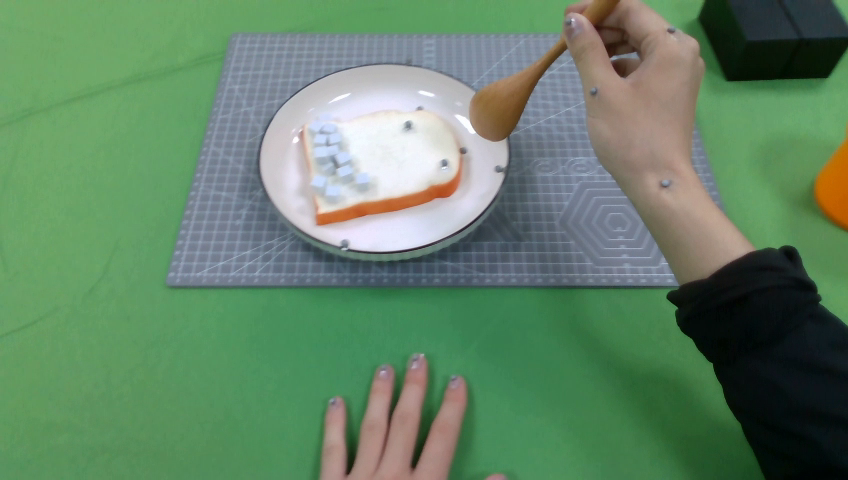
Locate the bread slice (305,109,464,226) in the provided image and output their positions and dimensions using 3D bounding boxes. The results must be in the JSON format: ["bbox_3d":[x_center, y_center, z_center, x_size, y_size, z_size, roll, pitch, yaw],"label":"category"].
[{"bbox_3d":[-0.033,-0.070,0.516,0.132,0.019,0.104,-13,59,-7],"label":"bread slice"}]

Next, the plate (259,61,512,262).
[{"bbox_3d":[-0.031,-0.067,0.511,0.209,0.038,0.207,0,58,0],"label":"plate"}]

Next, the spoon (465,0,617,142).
[{"bbox_3d":[0.087,-0.129,0.403,0.041,0.194,0.021,52,43,4],"label":"spoon"}]
